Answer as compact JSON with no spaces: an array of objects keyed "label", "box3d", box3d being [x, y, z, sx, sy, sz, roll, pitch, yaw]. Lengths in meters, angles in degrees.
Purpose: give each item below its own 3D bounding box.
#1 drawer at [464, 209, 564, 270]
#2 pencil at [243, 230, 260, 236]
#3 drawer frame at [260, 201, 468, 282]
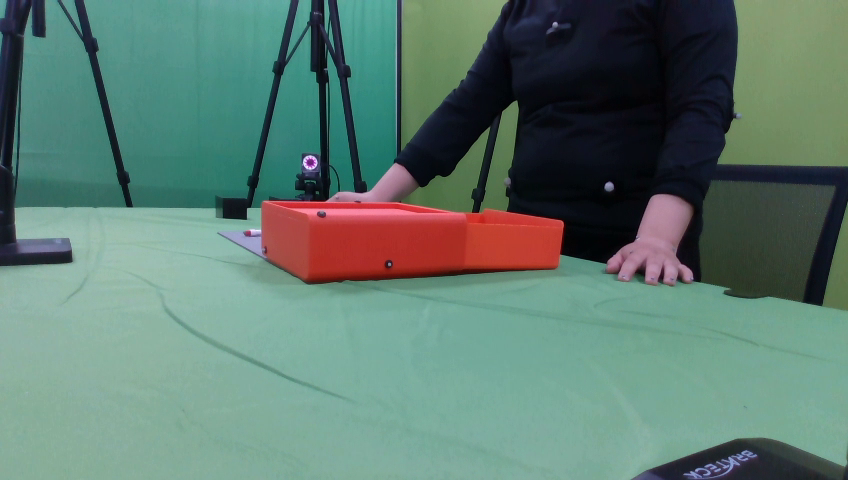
[{"label":"drawer","box3d":[0.059,-0.006,0.880,0.213,0.073,0.193,0,9,-31]},{"label":"pencil","box3d":[-0.236,-0.017,1.100,0.195,0.012,0.012,-4,10,-40]},{"label":"drawer frame","box3d":[-0.084,-0.006,0.794,0.215,0.082,0.200,-2,9,-30]}]
